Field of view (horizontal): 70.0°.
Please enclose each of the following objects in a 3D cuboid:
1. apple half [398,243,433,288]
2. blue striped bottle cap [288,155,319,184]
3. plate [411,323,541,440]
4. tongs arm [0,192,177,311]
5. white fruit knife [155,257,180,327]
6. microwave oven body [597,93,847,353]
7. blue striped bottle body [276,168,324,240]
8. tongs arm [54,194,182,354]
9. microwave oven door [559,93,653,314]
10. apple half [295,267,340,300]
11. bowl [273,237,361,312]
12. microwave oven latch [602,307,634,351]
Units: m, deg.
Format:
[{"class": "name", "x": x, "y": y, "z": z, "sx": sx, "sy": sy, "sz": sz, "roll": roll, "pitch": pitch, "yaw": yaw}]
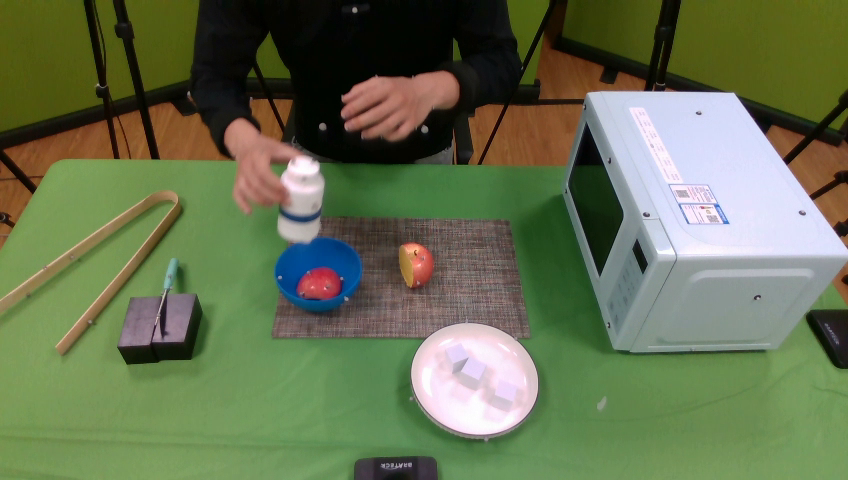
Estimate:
[{"class": "apple half", "x": -0.012, "y": 0.046, "z": 1.115, "sx": 0.053, "sy": 0.075, "sz": 0.080, "roll": -11, "pitch": 44, "yaw": -20}, {"class": "blue striped bottle cap", "x": -0.170, "y": -0.100, "z": 0.857, "sx": 0.044, "sy": 0.021, "sz": 0.044, "roll": 8, "pitch": 40, "yaw": -7}, {"class": "plate", "x": 0.082, "y": 0.228, "z": 0.976, "sx": 0.208, "sy": 0.039, "sz": 0.206, "roll": 2, "pitch": 45, "yaw": -2}, {"class": "tongs arm", "x": -0.618, "y": 0.019, "z": 1.124, "sx": 0.050, "sy": 0.026, "sz": 0.384, "roll": 23, "pitch": 47, "yaw": 17}, {"class": "white fruit knife", "x": -0.440, "y": 0.085, "z": 1.037, "sx": 0.016, "sy": 0.027, "sz": 0.206, "roll": 10, "pitch": 26, "yaw": -19}, {"class": "microwave oven body", "x": 0.475, "y": -0.041, "z": 1.109, "sx": 0.326, "sy": 0.261, "sz": 0.438, "roll": -1, "pitch": 45, "yaw": -4}, {"class": "blue striped bottle body", "x": -0.182, "y": -0.063, "z": 0.890, "sx": 0.063, "sy": 0.121, "sz": 0.062, "roll": 10, "pitch": 40, "yaw": -8}, {"class": "tongs arm", "x": -0.543, "y": 0.048, "z": 1.107, "sx": 0.028, "sy": 0.028, "sz": 0.385, "roll": 11, "pitch": 45, "yaw": 10}, {"class": "microwave oven door", "x": 0.327, "y": -0.074, "z": 1.123, "sx": 0.039, "sy": 0.245, "sz": 0.353, "roll": -1, "pitch": 46, "yaw": -5}, {"class": "apple half", "x": -0.187, "y": 0.071, "z": 1.067, "sx": 0.081, "sy": 0.033, "sz": 0.081, "roll": 3, "pitch": 46, "yaw": -3}, {"class": "bowl", "x": -0.186, "y": 0.074, "z": 1.069, "sx": 0.151, "sy": 0.077, "sz": 0.150, "roll": 3, "pitch": 46, "yaw": -3}, {"class": "microwave oven latch", "x": 0.332, "y": 0.153, "z": 1.044, "sx": 0.030, "sy": 0.029, "sz": 0.078, "roll": -1, "pitch": 45, "yaw": -4}]
